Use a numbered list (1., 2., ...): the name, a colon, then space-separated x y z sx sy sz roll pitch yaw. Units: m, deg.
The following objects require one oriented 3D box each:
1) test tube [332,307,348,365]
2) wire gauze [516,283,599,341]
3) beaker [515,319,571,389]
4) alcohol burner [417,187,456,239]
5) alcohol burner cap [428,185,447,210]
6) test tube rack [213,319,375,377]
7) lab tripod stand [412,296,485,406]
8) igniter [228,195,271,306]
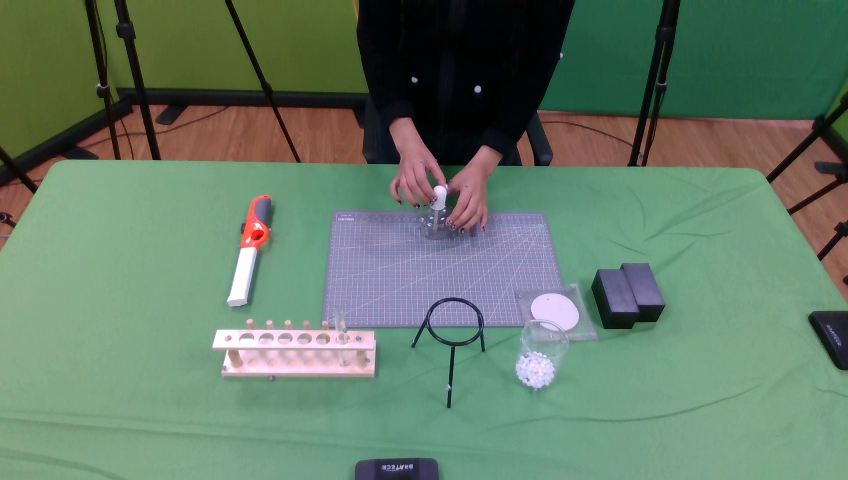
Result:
1. test tube: -0.128 0.151 0.931 0.017 0.151 0.017 1 50 -2
2. wire gauze: 0.240 0.131 1.094 0.125 0.011 0.120 -3 48 -8
3. beaker: 0.186 0.186 0.980 0.074 0.101 0.083 -23 51 -24
4. alcohol burner: 0.026 -0.059 1.189 0.078 0.120 0.077 1 48 -1
5. alcohol burner cap: 0.028 -0.085 1.165 0.034 0.048 0.033 6 47 -6
6. test tube rack: -0.202 0.170 0.977 0.242 0.085 0.066 1 46 -3
7. lab tripod stand: 0.045 0.168 0.963 0.148 0.132 0.147 3 47 -3
8. igniter: -0.332 0.011 1.160 0.057 0.025 0.274 -6 46 5
